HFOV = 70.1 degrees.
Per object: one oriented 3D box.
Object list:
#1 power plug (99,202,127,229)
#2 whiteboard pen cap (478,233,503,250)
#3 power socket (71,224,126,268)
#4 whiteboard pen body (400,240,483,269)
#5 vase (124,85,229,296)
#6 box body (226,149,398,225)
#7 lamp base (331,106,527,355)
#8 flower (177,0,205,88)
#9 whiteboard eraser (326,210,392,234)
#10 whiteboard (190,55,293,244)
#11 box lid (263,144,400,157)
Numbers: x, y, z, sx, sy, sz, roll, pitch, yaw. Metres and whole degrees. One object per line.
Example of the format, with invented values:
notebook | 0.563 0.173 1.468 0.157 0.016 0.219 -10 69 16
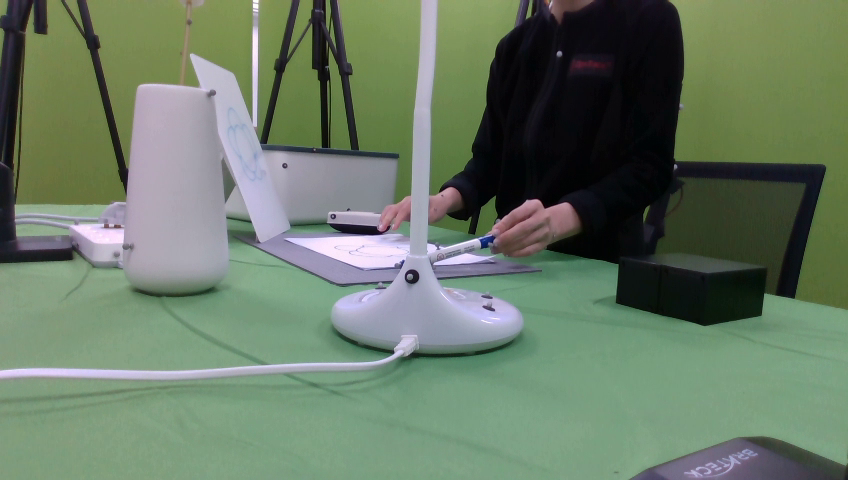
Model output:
power plug | -0.415 -0.026 0.848 0.073 0.052 0.035 6 5 -28
whiteboard pen cap | 0.087 0.003 0.800 0.033 0.018 0.018 -16 14 -23
power socket | -0.409 0.004 0.793 0.072 0.032 0.225 -2 8 -37
whiteboard pen body | 0.034 0.017 0.776 0.141 0.017 0.017 -15 14 -23
vase | -0.244 -0.047 0.598 0.098 0.200 0.098 3 8 0
box body | -0.265 -0.129 1.380 0.253 0.160 0.366 8 9 39
lamp base | 0.006 -0.012 0.478 0.161 0.180 0.179 2 10 2
flower | -0.243 -0.131 0.609 0.044 0.361 0.038 -5 -12 12
whiteboard eraser | -0.121 -0.033 1.131 0.112 0.042 0.056 4 8 13
whiteboard | -0.362 -0.129 1.029 0.144 0.305 0.217 -18 7 3
box lid | -0.263 -0.203 1.369 0.262 0.015 0.373 9 10 39
